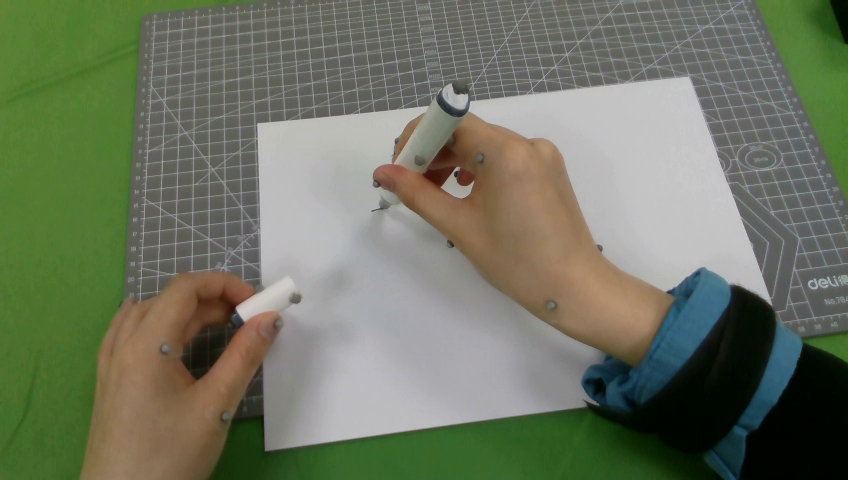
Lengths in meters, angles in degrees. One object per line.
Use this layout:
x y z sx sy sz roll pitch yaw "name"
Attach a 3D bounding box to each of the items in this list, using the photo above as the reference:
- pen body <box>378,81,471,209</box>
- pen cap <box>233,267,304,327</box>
-0.006 -0.040 0.314 0.017 0.144 0.017 5 73 -16 "pen body"
-0.083 0.031 0.323 0.038 0.017 0.017 -34 69 6 "pen cap"
